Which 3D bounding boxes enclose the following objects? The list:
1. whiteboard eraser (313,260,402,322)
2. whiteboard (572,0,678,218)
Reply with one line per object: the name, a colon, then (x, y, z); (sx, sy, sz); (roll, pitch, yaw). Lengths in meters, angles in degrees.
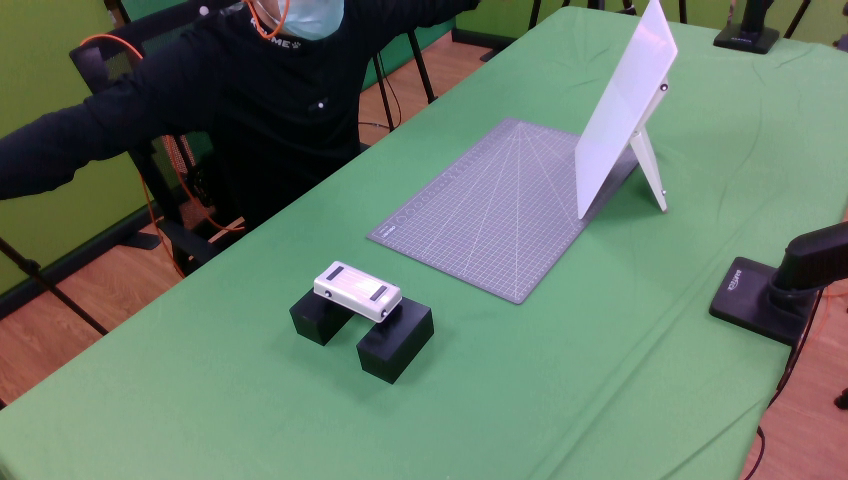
whiteboard eraser: (-0.090, 0.070, 0.813); (0.112, 0.042, 0.056); (21, 42, 24)
whiteboard: (0.367, -0.188, 0.964); (0.144, 0.305, 0.216); (17, 42, -3)
